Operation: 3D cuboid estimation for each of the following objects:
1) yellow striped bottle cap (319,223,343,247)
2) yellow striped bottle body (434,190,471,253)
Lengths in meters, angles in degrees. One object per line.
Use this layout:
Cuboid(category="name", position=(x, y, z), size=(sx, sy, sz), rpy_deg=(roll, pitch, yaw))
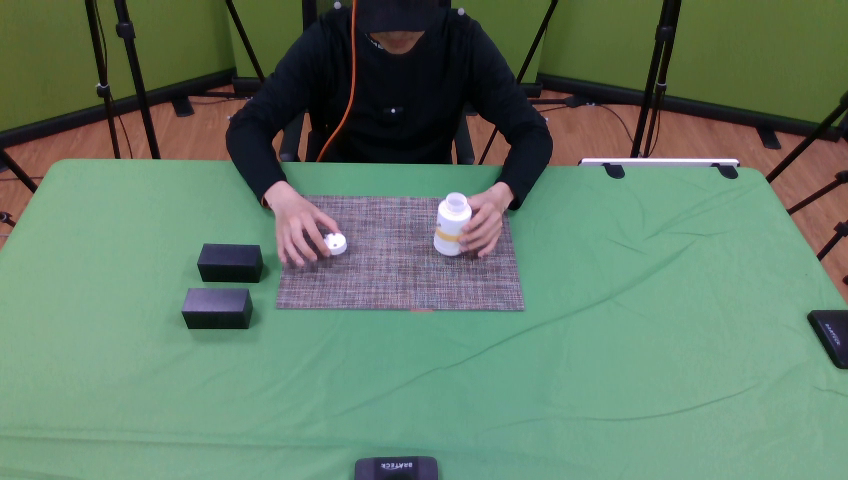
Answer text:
Cuboid(category="yellow striped bottle cap", position=(-0.173, -0.009, 1.126), size=(0.044, 0.019, 0.044), rpy_deg=(3, 51, -4))
Cuboid(category="yellow striped bottle body", position=(0.053, -0.037, 1.132), size=(0.063, 0.121, 0.062), rpy_deg=(3, 46, -3))
